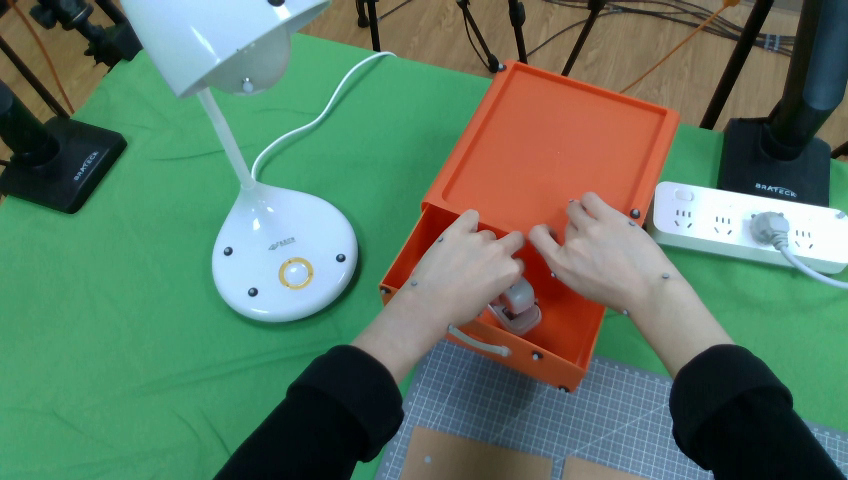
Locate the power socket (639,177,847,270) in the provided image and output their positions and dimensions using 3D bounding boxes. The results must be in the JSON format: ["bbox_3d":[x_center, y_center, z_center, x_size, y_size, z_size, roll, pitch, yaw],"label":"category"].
[{"bbox_3d":[0.354,-0.019,0.673,0.226,0.033,0.071,11,62,8],"label":"power socket"}]

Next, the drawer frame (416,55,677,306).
[{"bbox_3d":[0.127,-0.069,0.628,0.201,0.083,0.212,21,63,14],"label":"drawer frame"}]

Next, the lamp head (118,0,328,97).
[{"bbox_3d":[-0.133,-0.161,0.351,0.112,0.112,0.123,-41,105,-19],"label":"lamp head"}]

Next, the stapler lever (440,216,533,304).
[{"bbox_3d":[0.058,0.015,0.576,0.027,0.040,0.117,-33,57,-15],"label":"stapler lever"}]

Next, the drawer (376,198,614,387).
[{"bbox_3d":[0.088,0.007,0.590,0.193,0.074,0.211,21,63,14],"label":"drawer"}]

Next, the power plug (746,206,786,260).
[{"bbox_3d":[0.355,-0.005,0.638,0.035,0.053,0.072,21,64,13],"label":"power plug"}]

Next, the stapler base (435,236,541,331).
[{"bbox_3d":[0.062,0.031,0.599,0.041,0.024,0.129,-33,60,-15],"label":"stapler base"}]

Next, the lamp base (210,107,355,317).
[{"bbox_3d":[-0.167,-0.036,0.614,0.160,0.182,0.177,-33,62,-16],"label":"lamp base"}]

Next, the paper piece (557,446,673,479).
[{"bbox_3d":[0.175,0.267,0.529,0.135,0.004,0.135,15,62,10],"label":"paper piece"}]

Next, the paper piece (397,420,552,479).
[{"bbox_3d":[0.037,0.243,0.547,0.135,0.009,0.137,11,63,12],"label":"paper piece"}]
